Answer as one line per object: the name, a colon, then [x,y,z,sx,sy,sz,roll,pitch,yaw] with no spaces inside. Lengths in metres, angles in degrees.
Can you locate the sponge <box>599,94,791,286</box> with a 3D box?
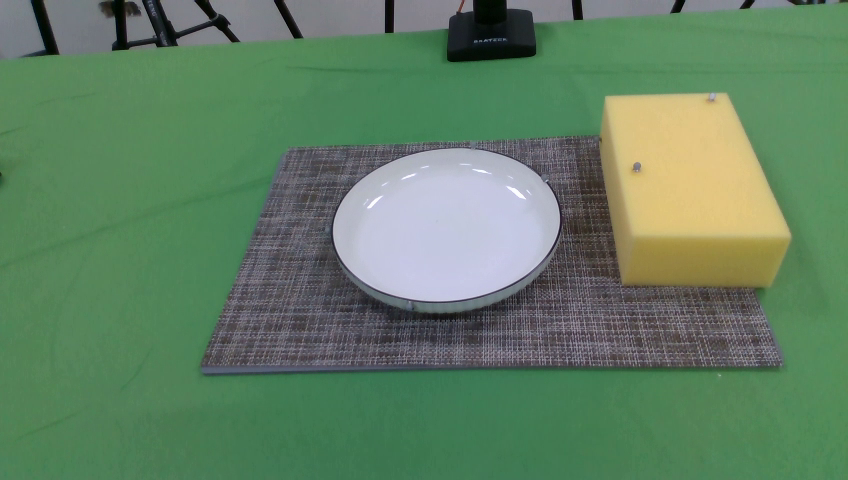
sponge: [0.232,-0.053,0.552,0.118,0.061,0.205,0,44,8]

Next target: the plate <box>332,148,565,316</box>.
plate: [0.022,-0.008,0.553,0.207,0.039,0.205,-4,44,4]
